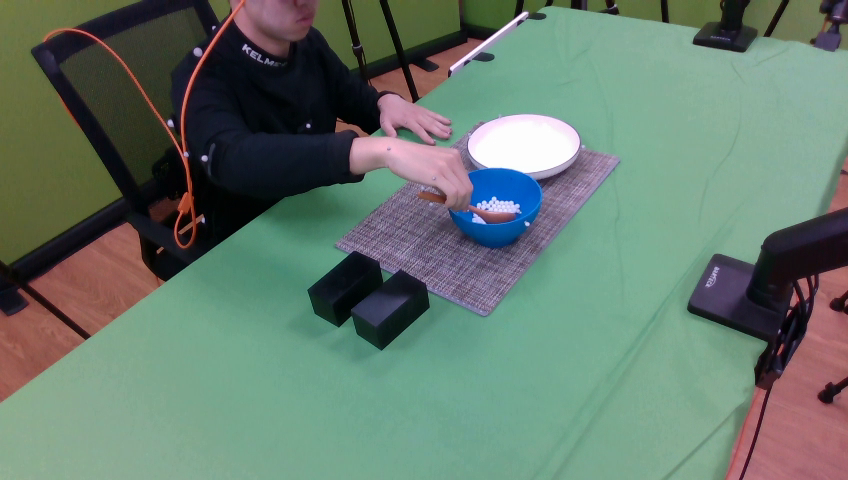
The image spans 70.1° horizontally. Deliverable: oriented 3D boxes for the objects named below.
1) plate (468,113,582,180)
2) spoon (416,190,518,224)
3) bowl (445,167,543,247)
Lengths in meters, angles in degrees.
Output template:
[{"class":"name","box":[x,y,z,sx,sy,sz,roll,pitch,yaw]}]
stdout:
[{"class":"plate","box":[0.186,-0.169,1.122,0.207,0.039,0.206,-4,40,4]},{"class":"spoon","box":[0.066,-0.046,0.893,0.195,0.041,0.021,16,46,-33]},{"class":"bowl","box":[0.111,-0.042,0.952,0.151,0.077,0.150,-4,41,4]}]
